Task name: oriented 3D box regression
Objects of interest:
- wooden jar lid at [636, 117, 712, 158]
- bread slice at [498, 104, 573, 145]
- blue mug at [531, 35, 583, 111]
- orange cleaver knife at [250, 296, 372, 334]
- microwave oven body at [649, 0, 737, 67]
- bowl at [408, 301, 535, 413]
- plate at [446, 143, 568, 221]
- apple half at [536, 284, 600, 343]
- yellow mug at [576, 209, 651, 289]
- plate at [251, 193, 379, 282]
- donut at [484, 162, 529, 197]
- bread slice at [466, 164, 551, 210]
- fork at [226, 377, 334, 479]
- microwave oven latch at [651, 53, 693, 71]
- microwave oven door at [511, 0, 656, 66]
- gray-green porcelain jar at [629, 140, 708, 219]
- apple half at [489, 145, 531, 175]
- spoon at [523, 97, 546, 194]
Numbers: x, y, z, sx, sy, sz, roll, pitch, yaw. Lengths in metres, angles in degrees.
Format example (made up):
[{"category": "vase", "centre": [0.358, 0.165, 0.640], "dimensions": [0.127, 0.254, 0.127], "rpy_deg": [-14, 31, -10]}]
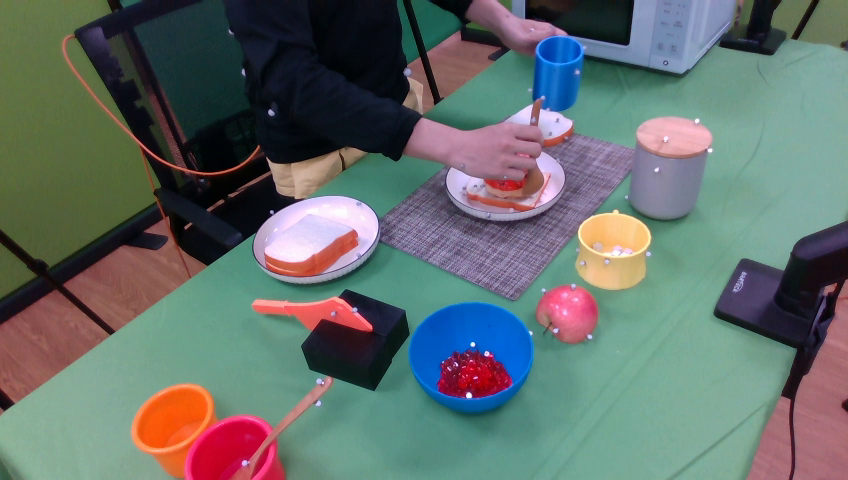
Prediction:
[{"category": "wooden jar lid", "centre": [0.377, -0.151, 0.917], "dimensions": [0.108, 0.021, 0.108], "rpy_deg": [-2, 41, 3]}, {"category": "bread slice", "centre": [0.231, -0.232, 1.205], "dimensions": [0.105, 0.019, 0.130], "rpy_deg": [-36, 47, -29]}, {"category": "blue mug", "centre": [0.235, -0.312, 1.097], "dimensions": [0.082, 0.106, 0.116], "rpy_deg": [-5, 54, 1]}, {"category": "orange cleaver knife", "centre": [-0.158, 0.103, 0.828], "dimensions": [0.210, 0.078, 0.012], "rpy_deg": [-4, 43, 39]}, {"category": "microwave oven body", "centre": [0.475, -0.602, 1.411], "dimensions": [0.438, 0.261, 0.327], "rpy_deg": [23, 50, 32]}, {"category": "bowl", "centre": [0.060, 0.156, 0.739], "dimensions": [0.151, 0.077, 0.150], "rpy_deg": [-4, 40, 4]}, {"category": "plate", "centre": [0.142, -0.097, 1.045], "dimensions": [0.207, 0.039, 0.206], "rpy_deg": [-4, 40, 4]}, {"category": "apple half", "centre": [0.196, 0.091, 0.815], "dimensions": [0.075, 0.053, 0.080], "rpy_deg": [-22, 42, -20]}, {"category": "yellow mug", "centre": [0.278, 0.004, 0.893], "dimensions": [0.099, 0.064, 0.130], "rpy_deg": [6, 42, 14]}, {"category": "plate", "centre": [-0.174, -0.001, 0.984], "dimensions": [0.209, 0.038, 0.208], "rpy_deg": [-4, 41, 4]}, {"category": "donut", "centre": [0.149, -0.110, 1.016], "dimensions": [0.099, 0.048, 0.098], "rpy_deg": [-4, 39, 4]}, {"category": "bread slice", "centre": [0.141, -0.093, 1.041], "dimensions": [0.133, 0.018, 0.107], "rpy_deg": [9, 44, 20]}, {"category": "fork", "centre": [-0.163, 0.216, 0.647], "dimensions": [0.207, 0.019, 0.028], "rpy_deg": [-49, 41, 16]}, {"category": "microwave oven latch", "centre": [0.532, -0.386, 1.301], "dimensions": [0.078, 0.029, 0.030], "rpy_deg": [27, 52, 34]}, {"category": "microwave oven door", "centre": [0.351, -0.540, 1.349], "dimensions": [0.353, 0.245, 0.039], "rpy_deg": [24, 50, 31]}, {"category": "gray-green porcelain jar", "centre": [0.383, -0.105, 0.958], "dimensions": [0.106, 0.127, 0.105], "rpy_deg": [-4, 41, 4]}, {"category": "apple half", "centre": [0.144, -0.138, 0.995], "dimensions": [0.081, 0.033, 0.081], "rpy_deg": [-2, 35, 2]}, {"category": "spoon", "centre": [0.164, -0.133, 0.894], "dimensions": [0.042, 0.195, 0.021], "rpy_deg": [-24, 50, -10]}]
